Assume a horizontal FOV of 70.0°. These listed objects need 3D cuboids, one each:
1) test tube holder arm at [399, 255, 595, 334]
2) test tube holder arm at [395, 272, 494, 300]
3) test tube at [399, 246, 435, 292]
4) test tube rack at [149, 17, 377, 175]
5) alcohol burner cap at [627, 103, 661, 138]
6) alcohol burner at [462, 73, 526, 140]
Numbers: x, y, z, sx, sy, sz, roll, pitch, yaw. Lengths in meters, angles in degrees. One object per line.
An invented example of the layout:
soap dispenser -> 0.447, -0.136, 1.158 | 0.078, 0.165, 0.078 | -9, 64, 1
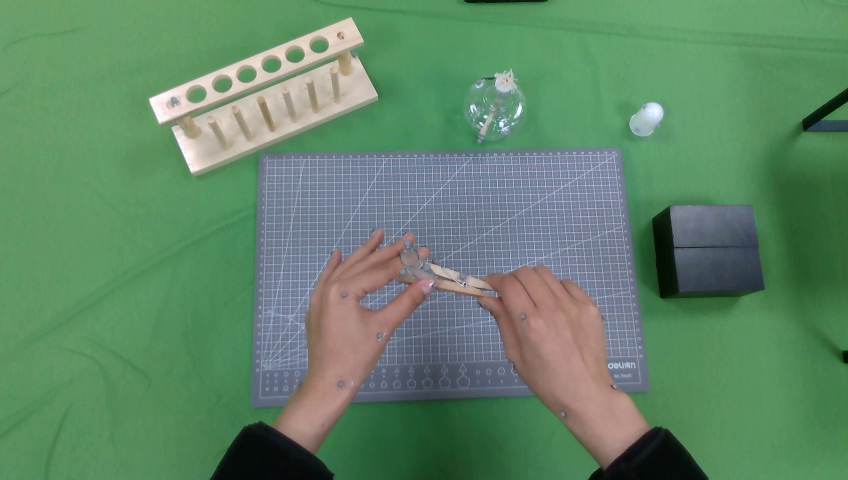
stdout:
test tube holder arm -> 0.063, 0.047, 0.530 | 0.178, 0.015, 0.013 | 18, 80, 6
test tube holder arm -> 0.018, 0.041, 0.533 | 0.088, 0.015, 0.010 | 9, 78, 4
test tube -> -0.003, 0.028, 0.529 | 0.017, 0.151, 0.017 | -1, 77, 7
test tube rack -> -0.180, -0.167, 0.712 | 0.242, 0.085, 0.066 | -25, 78, -9
alcohol burner cap -> 0.278, -0.152, 0.758 | 0.034, 0.048, 0.033 | 1, 75, -2
alcohol burner -> 0.086, -0.165, 0.714 | 0.078, 0.119, 0.077 | 1, 77, -4
